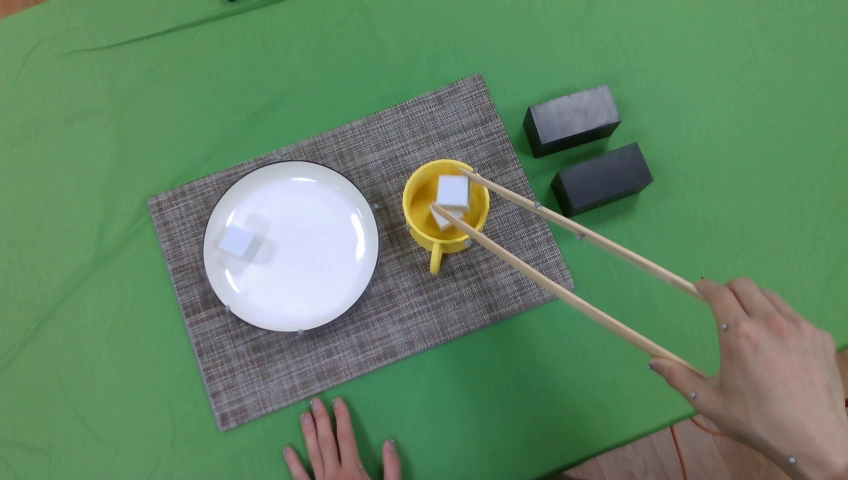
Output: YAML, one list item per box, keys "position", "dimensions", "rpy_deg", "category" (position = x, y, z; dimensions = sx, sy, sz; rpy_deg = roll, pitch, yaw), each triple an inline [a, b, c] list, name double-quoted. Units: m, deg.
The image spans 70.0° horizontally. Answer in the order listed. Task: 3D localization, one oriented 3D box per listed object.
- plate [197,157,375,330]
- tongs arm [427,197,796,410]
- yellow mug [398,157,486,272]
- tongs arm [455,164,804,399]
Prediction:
- position: [-0.161, 0.005, 0.724]
  dimensions: [0.208, 0.039, 0.207]
  rpy_deg: [0, 80, 1]
  category: "plate"
- position: [0.134, 0.040, 0.553]
  dimensions: [0.028, 0.028, 0.383]
  rpy_deg: [-49, 51, -10]
  category: "tongs arm"
- position: [0.019, -0.026, 0.712]
  dimensions: [0.100, 0.064, 0.130]
  rpy_deg: [10, 80, 2]
  category: "yellow mug"
- position: [0.154, 0.016, 0.556]
  dimensions: [0.381, 0.027, 0.050]
  rpy_deg: [31, 79, 38]
  category: "tongs arm"
